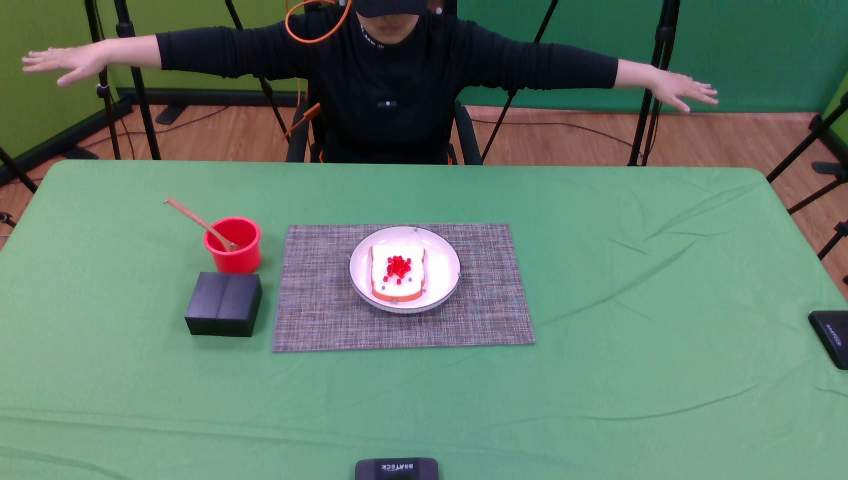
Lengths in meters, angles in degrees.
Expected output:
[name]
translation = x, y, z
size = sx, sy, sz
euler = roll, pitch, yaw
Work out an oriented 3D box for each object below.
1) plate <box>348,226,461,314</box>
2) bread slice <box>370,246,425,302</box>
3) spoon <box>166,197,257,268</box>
[plate]
translation = -0.035, 0.058, 1.123
size = 0.209, 0.038, 0.208
euler = 2, 46, -2
[bread slice]
translation = -0.048, 0.060, 1.123
size = 0.105, 0.019, 0.130
euler = 0, 45, -3
[spoon]
translation = -0.383, -0.014, 1.100
size = 0.194, 0.021, 0.041
euler = 45, 46, -22
